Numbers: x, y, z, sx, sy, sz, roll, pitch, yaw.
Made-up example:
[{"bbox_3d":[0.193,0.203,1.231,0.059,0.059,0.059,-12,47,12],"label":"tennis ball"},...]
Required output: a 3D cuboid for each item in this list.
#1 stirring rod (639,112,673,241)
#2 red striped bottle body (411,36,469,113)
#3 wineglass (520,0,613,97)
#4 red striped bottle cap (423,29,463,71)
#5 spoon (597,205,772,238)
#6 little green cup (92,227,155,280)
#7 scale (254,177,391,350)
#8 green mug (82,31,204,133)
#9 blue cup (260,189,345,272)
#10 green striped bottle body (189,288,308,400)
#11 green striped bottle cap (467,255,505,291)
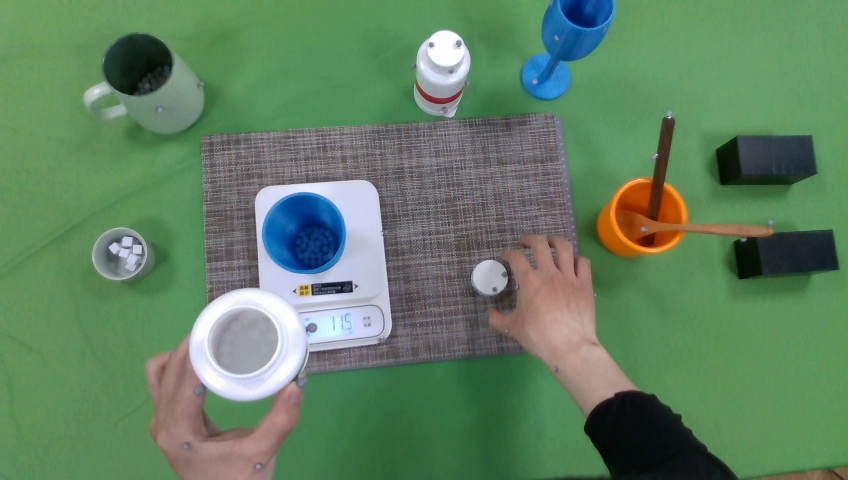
[{"bbox_3d":[0.270,-0.068,0.709,0.014,0.178,0.005,1,39,10],"label":"stirring rod"},{"bbox_3d":[0.018,-0.204,0.728,0.063,0.120,0.063,1,80,-4],"label":"red striped bottle body"},{"bbox_3d":[0.162,-0.235,0.716,0.074,0.172,0.073,1,80,-3],"label":"wineglass"},{"bbox_3d":[0.021,-0.213,0.675,0.044,0.018,0.044,1,77,-3],"label":"red striped bottle cap"},{"bbox_3d":[0.294,-0.018,0.702,0.022,0.192,0.041,11,86,-46],"label":"spoon"},{"bbox_3d":[-0.347,0.018,0.706,0.061,0.039,0.061,1,80,-5],"label":"little green cup"},{"bbox_3d":[-0.122,0.027,0.721,0.149,0.031,0.200,-6,81,-5],"label":"scale"},{"bbox_3d":[-0.331,-0.175,0.707,0.125,0.105,0.092,-27,83,-8],"label":"green mug"},{"bbox_3d":[-0.125,-0.003,0.659,0.093,0.100,0.092,1,83,-4],"label":"blue cup"},{"bbox_3d":[-0.104,0.065,0.370,0.063,0.119,0.063,2,77,-9],"label":"green striped bottle body"},{"bbox_3d":[0.075,0.041,0.736,0.044,0.020,0.044,0,90,-19],"label":"green striped bottle cap"}]
